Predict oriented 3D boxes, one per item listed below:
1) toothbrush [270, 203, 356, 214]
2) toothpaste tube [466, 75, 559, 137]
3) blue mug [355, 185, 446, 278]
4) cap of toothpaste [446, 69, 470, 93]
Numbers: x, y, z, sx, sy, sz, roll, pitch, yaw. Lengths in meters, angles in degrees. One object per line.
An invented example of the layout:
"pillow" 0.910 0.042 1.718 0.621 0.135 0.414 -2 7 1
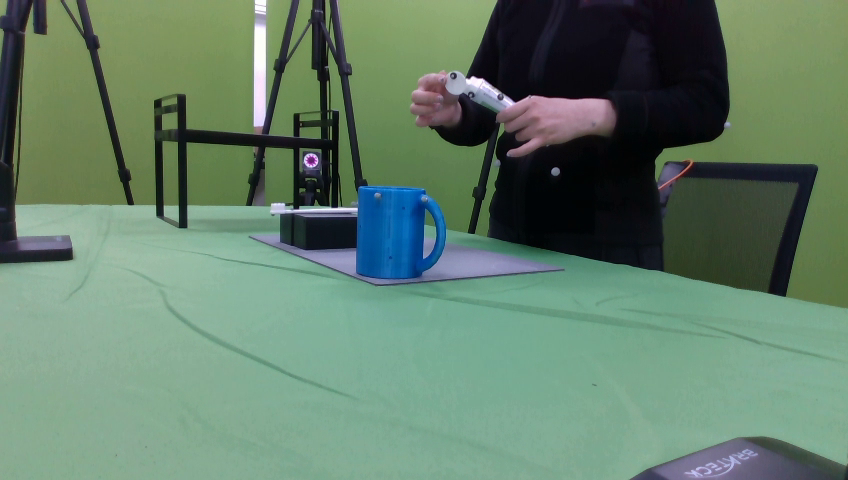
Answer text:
"toothbrush" -0.156 -0.050 0.958 0.183 0.016 0.014 -2 2 -33
"toothpaste tube" 0.132 -0.201 0.918 0.165 0.034 0.055 29 19 -9
"blue mug" -0.027 -0.011 0.723 0.116 0.106 0.083 6 8 27
"cap of toothpaste" 0.050 -0.236 0.894 0.037 0.037 0.011 5 35 23
